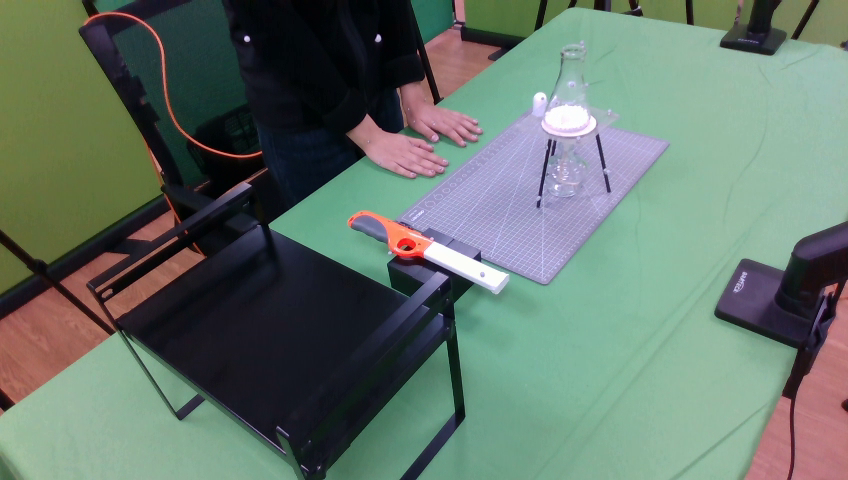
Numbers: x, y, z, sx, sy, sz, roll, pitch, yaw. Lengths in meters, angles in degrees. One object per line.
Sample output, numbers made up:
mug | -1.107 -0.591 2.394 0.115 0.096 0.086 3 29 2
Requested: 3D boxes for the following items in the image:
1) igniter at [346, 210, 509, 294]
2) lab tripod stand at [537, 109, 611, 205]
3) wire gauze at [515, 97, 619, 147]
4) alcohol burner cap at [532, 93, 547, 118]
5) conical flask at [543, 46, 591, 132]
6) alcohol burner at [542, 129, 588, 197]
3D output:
igniter | -0.002 0.012 0.884 0.274 0.025 0.057 24 53 28
lab tripod stand | 0.244 -0.141 1.014 0.148 0.132 0.147 -3 39 3
wire gauze | 0.229 -0.189 0.970 0.120 0.011 0.125 25 51 34
alcohol burner cap | 0.240 -0.281 1.251 0.034 0.048 0.033 -4 42 4
conical flask | 0.224 -0.234 0.933 0.075 0.122 0.075 -3 41 3
alcohol burner | 0.239 -0.133 1.021 0.078 0.119 0.077 -4 38 4
